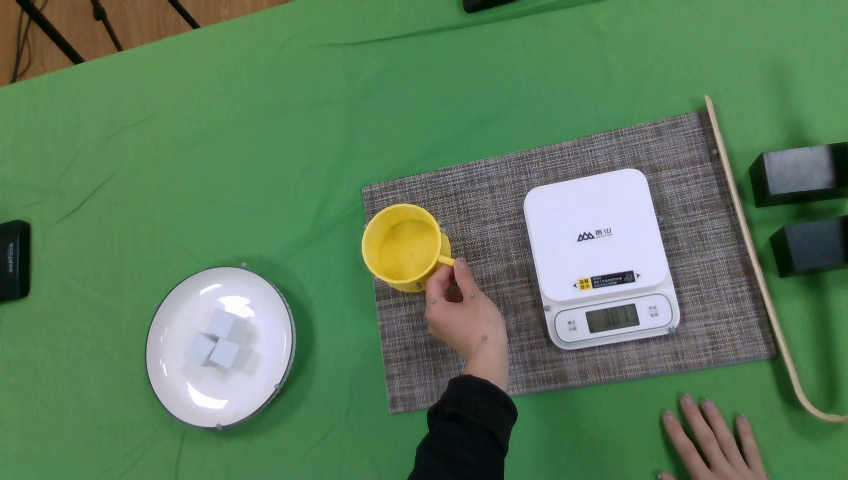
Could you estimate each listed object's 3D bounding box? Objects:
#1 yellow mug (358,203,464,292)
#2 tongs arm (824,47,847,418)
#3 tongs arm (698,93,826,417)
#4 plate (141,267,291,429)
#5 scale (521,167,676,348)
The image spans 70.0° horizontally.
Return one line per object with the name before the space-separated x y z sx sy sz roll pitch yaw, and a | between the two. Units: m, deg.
yellow mug | -0.011 0.016 0.749 0.130 0.064 0.099 18 81 15
tongs arm | 0.435 -0.009 0.636 0.050 0.027 0.383 -5 82 39
tongs arm | 0.374 0.005 0.687 0.028 0.028 0.385 -20 72 32
plate | -0.268 0.140 0.795 0.207 0.039 0.206 -3 77 11
scale | 0.203 0.019 0.719 0.148 0.032 0.200 -12 76 10
